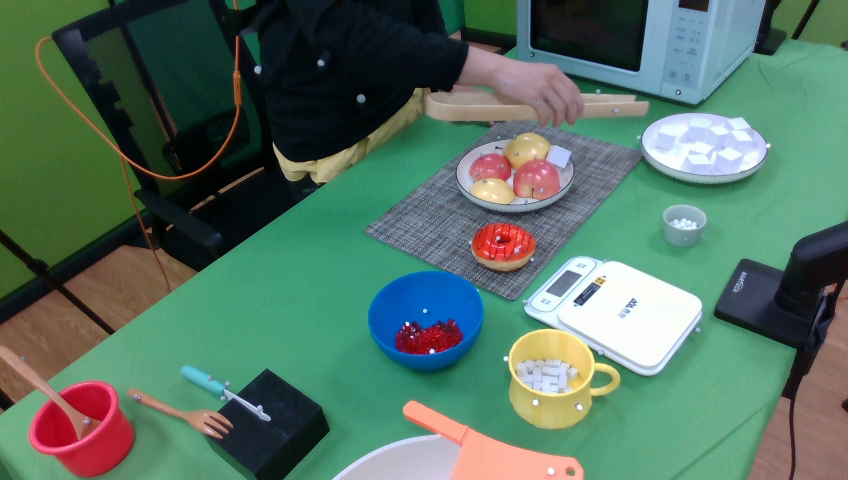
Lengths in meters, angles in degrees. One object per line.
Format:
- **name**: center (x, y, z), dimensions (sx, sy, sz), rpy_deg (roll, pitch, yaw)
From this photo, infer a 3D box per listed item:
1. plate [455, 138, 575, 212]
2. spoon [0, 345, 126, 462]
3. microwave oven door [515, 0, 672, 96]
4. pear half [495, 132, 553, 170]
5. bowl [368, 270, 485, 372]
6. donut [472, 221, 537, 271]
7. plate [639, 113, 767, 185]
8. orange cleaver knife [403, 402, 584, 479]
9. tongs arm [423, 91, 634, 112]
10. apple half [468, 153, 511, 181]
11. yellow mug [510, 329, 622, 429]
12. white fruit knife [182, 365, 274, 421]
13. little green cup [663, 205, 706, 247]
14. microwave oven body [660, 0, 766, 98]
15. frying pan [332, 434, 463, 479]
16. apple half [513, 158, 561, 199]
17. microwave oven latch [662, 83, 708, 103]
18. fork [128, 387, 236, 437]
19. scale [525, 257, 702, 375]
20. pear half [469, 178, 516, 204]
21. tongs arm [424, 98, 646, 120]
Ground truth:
- **plate**: center (0.159, -0.111, 1.063), dimensions (0.209, 0.038, 0.208), rpy_deg (-4, 40, 4)
- **spoon**: center (-0.434, 0.192, 0.720), dimensions (0.194, 0.021, 0.042), rpy_deg (47, 53, -6)
- **microwave oven door**: center (0.343, -0.455, 1.259), dimensions (0.353, 0.245, 0.039), rpy_deg (26, 51, 33)
- **pear half**: center (0.174, -0.168, 1.094), dimensions (0.109, 0.056, 0.076), rpy_deg (14, 54, 30)
- **bowl**: center (0.007, 0.118, 0.791), dimensions (0.151, 0.077, 0.150), rpy_deg (-5, 39, 4)
- **donut**: center (0.123, 0.008, 0.923), dimensions (0.099, 0.048, 0.098), rpy_deg (-3, 38, 3)
- **plate**: center (0.489, -0.157, 1.074), dimensions (0.207, 0.039, 0.206), rpy_deg (-4, 40, 4)
- **orange cleaver knife**: center (0.062, 0.222, 0.609), dimensions (0.210, 0.012, 0.077), rpy_deg (15, 48, 25)
- **tongs arm**: center (0.183, -0.223, 0.991), dimensions (0.387, 0.026, 0.050), rpy_deg (-1, 35, -14)
- **apple half**: center (0.120, -0.138, 1.088), dimensions (0.081, 0.033, 0.081), rpy_deg (1, 43, 0)
- **yellow mug**: center (0.168, 0.164, 0.721), dimensions (0.130, 0.064, 0.099), rpy_deg (0, 40, 8)
- **white fruit knife**: center (-0.245, 0.188, 0.747), dimensions (0.205, 0.027, 0.016), rpy_deg (9, 41, 41)
- **little green cup**: center (0.396, -0.020, 0.926), dimensions (0.061, 0.039, 0.061), rpy_deg (-4, 40, 4)
- **microwave oven body**: center (0.472, -0.513, 1.317), dimensions (0.438, 0.261, 0.327), rpy_deg (26, 51, 34)
- **frying pan**: center (-0.089, 0.306, 0.564), dimensions (0.487, 0.103, 0.306), rpy_deg (10, 41, 7)
- **apple half**: center (0.193, -0.111, 1.031), dimensions (0.080, 0.053, 0.075), rpy_deg (11, 40, 26)
- **microwave oven latch**: center (0.518, -0.296, 1.204), dimensions (0.078, 0.029, 0.030), rpy_deg (28, 52, 35)
- **fork**: center (-0.305, 0.207, 0.744), dimensions (0.206, 0.019, 0.028), rpy_deg (3, 41, 36)
- **scale**: center (0.254, 0.091, 0.821), dimensions (0.199, 0.032, 0.149), rpy_deg (28, 51, 35)
- **pear half**: center (0.115, -0.090, 1.036), dimensions (0.087, 0.031, 0.071), rpy_deg (27, 38, 31)
- **tongs arm**: center (0.190, -0.209, 0.972), dimensions (0.390, 0.028, 0.028), rpy_deg (-3, 39, -17)
